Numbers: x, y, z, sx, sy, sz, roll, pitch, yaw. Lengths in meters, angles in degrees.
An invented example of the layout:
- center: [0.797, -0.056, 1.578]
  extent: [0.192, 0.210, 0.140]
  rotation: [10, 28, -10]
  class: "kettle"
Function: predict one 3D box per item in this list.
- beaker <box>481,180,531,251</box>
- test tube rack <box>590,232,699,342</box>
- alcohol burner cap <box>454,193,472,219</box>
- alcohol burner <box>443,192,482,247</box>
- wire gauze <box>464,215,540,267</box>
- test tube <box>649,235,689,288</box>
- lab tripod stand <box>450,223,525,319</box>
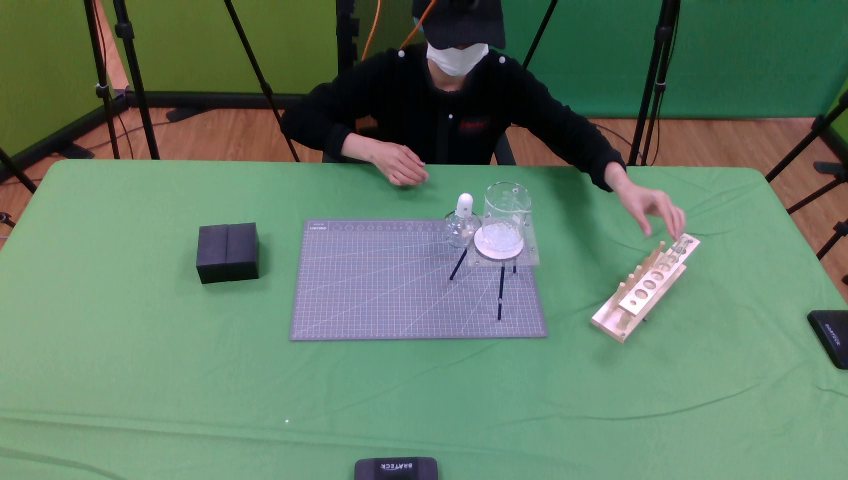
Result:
- center: [0.135, -0.036, 1.001]
  extent: [0.083, 0.101, 0.074]
  rotation: [30, 53, 24]
  class: "beaker"
- center: [0.407, 0.074, 1.112]
  extent: [0.066, 0.085, 0.242]
  rotation: [35, 53, 26]
  class: "test tube rack"
- center: [0.076, -0.068, 1.151]
  extent: [0.034, 0.048, 0.033]
  rotation: [4, 46, -4]
  class: "alcohol burner cap"
- center: [0.075, -0.044, 1.177]
  extent: [0.078, 0.120, 0.077]
  rotation: [1, 45, -1]
  class: "alcohol burner"
- center: [0.131, -0.001, 1.035]
  extent: [0.121, 0.011, 0.124]
  rotation: [2, 44, -3]
  class: "wire gauze"
- center: [0.432, 0.043, 1.074]
  extent: [0.017, 0.151, 0.017]
  rotation: [3, 51, -3]
  class: "test tube"
- center: [0.120, 0.046, 1.080]
  extent: [0.148, 0.132, 0.147]
  rotation: [1, 47, -1]
  class: "lab tripod stand"
